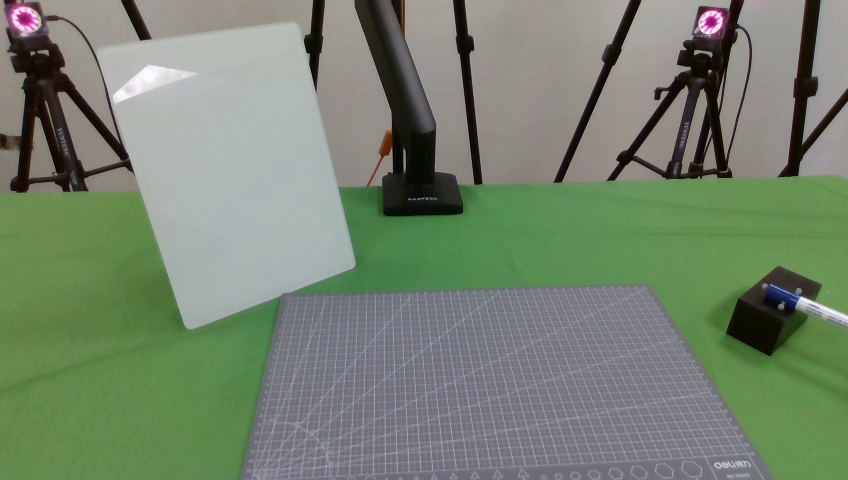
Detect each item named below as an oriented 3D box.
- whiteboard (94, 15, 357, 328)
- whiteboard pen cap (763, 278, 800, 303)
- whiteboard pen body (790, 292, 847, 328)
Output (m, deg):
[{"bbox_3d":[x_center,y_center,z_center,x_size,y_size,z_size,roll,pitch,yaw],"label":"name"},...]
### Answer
[{"bbox_3d":[-0.238,-0.088,0.729,0.218,0.307,0.142,-21,19,-30],"label":"whiteboard"},{"bbox_3d":[0.381,0.054,0.643,0.018,0.018,0.033,-27,42,-37],"label":"whiteboard pen cap"},{"bbox_3d":[0.422,0.077,0.611,0.139,0.017,0.017,28,41,37],"label":"whiteboard pen body"}]
